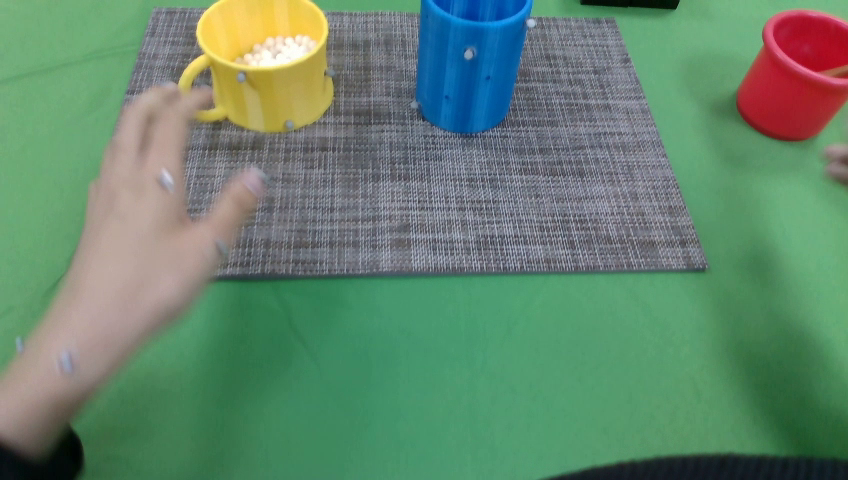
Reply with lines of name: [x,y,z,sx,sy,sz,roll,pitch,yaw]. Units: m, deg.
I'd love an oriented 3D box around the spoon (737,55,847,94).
spoon: [0.356,-0.145,0.489,0.041,0.192,0.022,-42,112,-33]

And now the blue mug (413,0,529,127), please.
blue mug: [0.045,-0.167,0.495,0.082,0.106,0.116,37,60,19]

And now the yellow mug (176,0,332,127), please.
yellow mug: [-0.138,-0.142,0.486,0.131,0.064,0.099,-38,66,-25]
